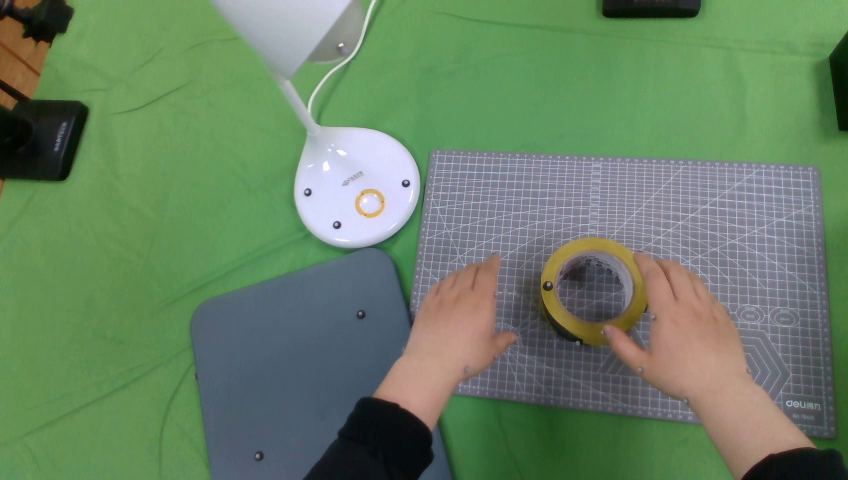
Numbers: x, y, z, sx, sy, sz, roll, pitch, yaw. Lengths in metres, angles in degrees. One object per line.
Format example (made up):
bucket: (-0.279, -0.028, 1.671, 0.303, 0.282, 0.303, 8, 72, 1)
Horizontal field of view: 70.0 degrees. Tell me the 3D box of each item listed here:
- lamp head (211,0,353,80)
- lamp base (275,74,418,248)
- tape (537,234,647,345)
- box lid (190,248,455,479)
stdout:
lamp head: (-0.104, -0.187, 0.404, 0.123, 0.112, 0.112, 36, 79, -16)
lamp base: (-0.108, -0.099, 0.690, 0.160, 0.182, 0.178, -44, 68, -7)
tape: (0.180, 0.053, 0.659, 0.117, 0.053, 0.116, -2, 71, 7)
box lid: (-0.119, 0.203, 0.681, 0.263, 0.015, 0.368, -18, 70, 3)
